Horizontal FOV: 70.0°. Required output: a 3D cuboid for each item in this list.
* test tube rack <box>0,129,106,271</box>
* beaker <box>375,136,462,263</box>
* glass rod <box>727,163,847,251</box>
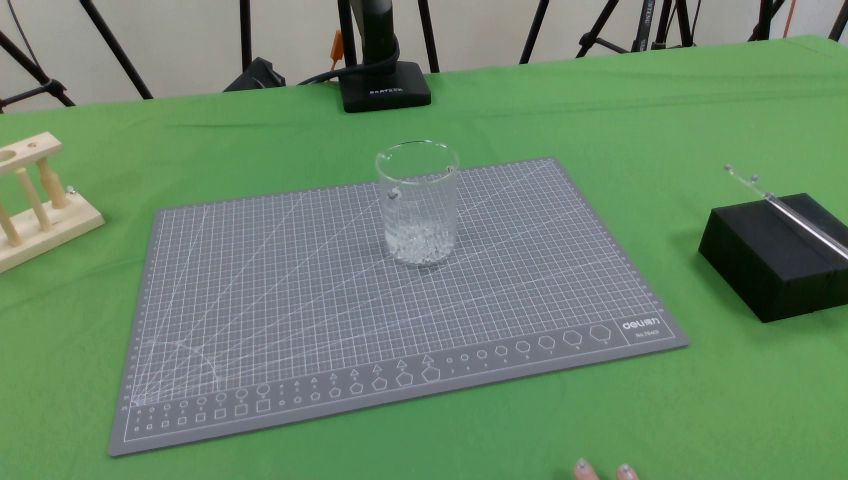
[{"bbox_3d":[-0.438,-0.009,0.554,0.066,0.086,0.242,31,50,32],"label":"test tube rack"},{"bbox_3d":[-0.007,-0.036,0.563,0.083,0.101,0.074,26,47,30],"label":"beaker"},{"bbox_3d":[0.339,-0.018,0.530,0.008,0.008,0.197,-16,42,-16],"label":"glass rod"}]
